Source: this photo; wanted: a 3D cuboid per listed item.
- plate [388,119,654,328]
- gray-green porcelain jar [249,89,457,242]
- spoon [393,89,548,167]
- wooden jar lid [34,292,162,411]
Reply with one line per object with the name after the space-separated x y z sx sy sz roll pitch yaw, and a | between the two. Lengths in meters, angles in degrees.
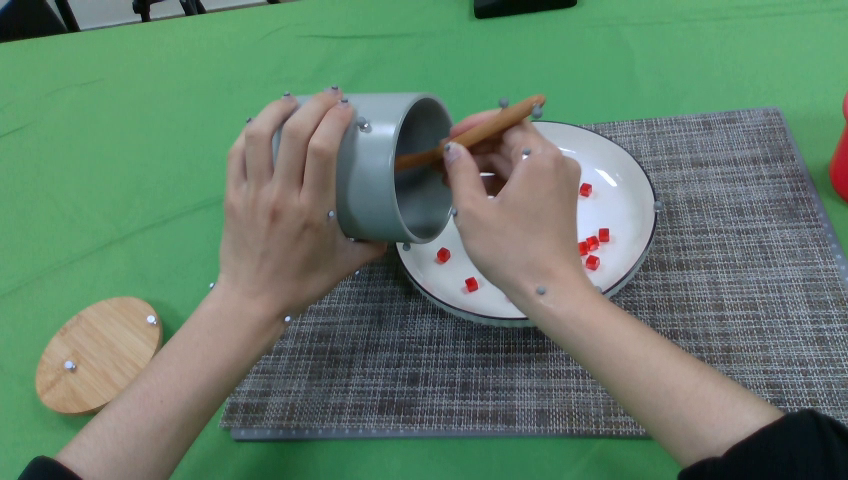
0.075 -0.015 0.491 0.207 0.039 0.205 -7 51 9 | plate
-0.053 -0.056 0.444 0.126 0.107 0.105 6 54 25 | gray-green porcelain jar
0.003 -0.063 0.408 0.193 0.022 0.041 -12 35 40 | spoon
-0.268 0.093 0.507 0.108 0.021 0.107 -6 52 7 | wooden jar lid
